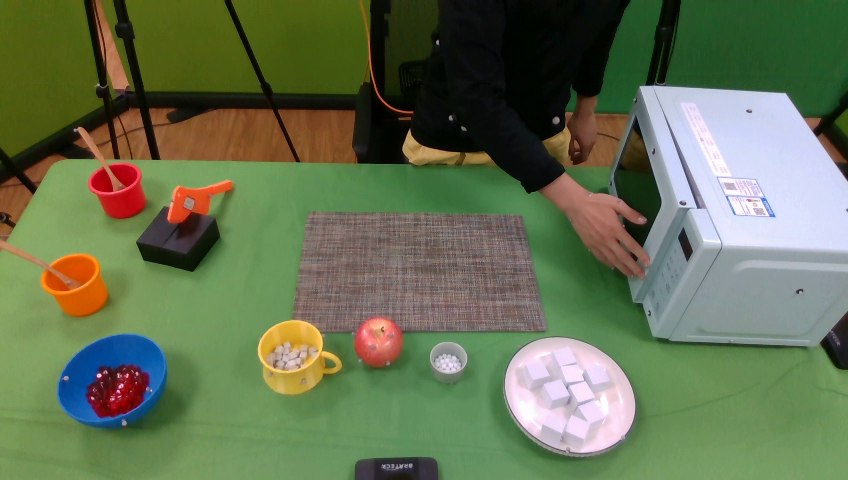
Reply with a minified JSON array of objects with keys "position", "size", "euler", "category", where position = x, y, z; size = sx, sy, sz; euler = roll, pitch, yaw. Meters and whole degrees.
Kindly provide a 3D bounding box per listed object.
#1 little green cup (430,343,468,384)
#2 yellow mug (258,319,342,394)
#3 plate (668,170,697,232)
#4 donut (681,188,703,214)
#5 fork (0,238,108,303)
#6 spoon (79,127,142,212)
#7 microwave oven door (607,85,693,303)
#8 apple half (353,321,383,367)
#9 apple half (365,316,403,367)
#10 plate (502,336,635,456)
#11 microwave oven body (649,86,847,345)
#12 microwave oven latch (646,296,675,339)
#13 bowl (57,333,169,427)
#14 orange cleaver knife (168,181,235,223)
[{"position":[0.039,0.203,0.993],"size":[0.061,0.039,0.061],"euler":[2,46,-2],"category":"little green cup"},{"position":[-0.195,0.189,0.972],"size":[0.131,0.064,0.099],"euler":[9,46,4],"category":"yellow mug"},{"position":[0.555,-0.059,1.197],"size":[0.209,0.038,0.208],"euler":[2,46,-2],"category":"plate"},{"position":[0.553,-0.066,1.183],"size":[0.099,0.048,0.098],"euler":[3,43,-2],"category":"donut"},{"position":[-0.632,0.048,1.017],"size":[0.208,0.018,0.028],"euler":[40,44,-27],"category":"fork"},{"position":[-0.624,-0.140,1.203],"size":[0.041,0.021,0.194],"euler":[-33,101,-25],"category":"spoon"},{"position":[0.415,-0.095,1.140],"size":[0.039,0.245,0.353],"euler":[4,46,1],"category":"microwave oven door"},{"position":[-0.097,0.177,0.984],"size":[0.033,0.081,0.081],"euler":[-17,49,-24],"category":"apple half"},{"position":[-0.063,0.165,1.000],"size":[0.053,0.075,0.080],"euler":[-16,45,-24],"category":"apple half"},{"position":[0.225,0.248,0.963],"size":[0.208,0.039,0.206],"euler":[2,46,-2],"category":"plate"},{"position":[0.567,-0.053,1.118],"size":[0.326,0.261,0.439],"euler":[2,45,-1],"category":"microwave oven body"},{"position":[0.412,0.134,1.061],"size":[0.030,0.029,0.078],"euler":[4,45,0],"category":"microwave oven latch"},{"position":[-0.455,0.223,0.911],"size":[0.151,0.077,0.150],"euler":[3,45,-2],"category":"bowl"},{"position":[-0.436,-0.077,1.196],"size":[0.012,0.077,0.211],"euler":[16,15,10],"category":"orange cleaver knife"}]
